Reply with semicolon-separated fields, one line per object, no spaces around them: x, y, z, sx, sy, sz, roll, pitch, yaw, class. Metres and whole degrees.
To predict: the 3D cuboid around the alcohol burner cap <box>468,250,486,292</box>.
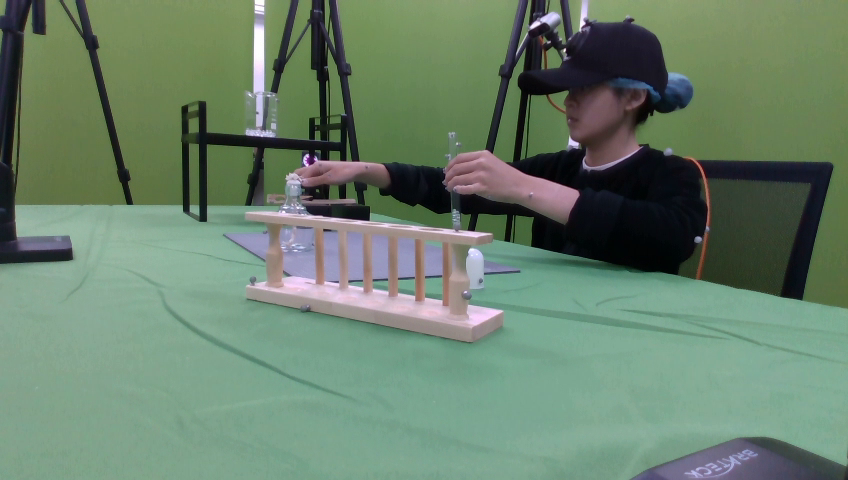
0.056;0.035;0.690;0.034;0.048;0.034;2;7;0;alcohol burner cap

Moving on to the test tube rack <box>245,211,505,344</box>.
-0.049;0.025;0.547;0.241;0.085;0.067;7;8;29;test tube rack

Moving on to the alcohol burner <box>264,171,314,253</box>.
-0.194;-0.042;0.888;0.078;0.119;0.078;3;5;0;alcohol burner

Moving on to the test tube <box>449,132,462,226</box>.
0.050;-0.098;0.969;0.017;0.150;0.017;-3;7;1;test tube

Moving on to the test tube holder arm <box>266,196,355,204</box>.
-0.222;-0.080;1.196;0.179;0.013;0.015;-3;2;-30;test tube holder arm

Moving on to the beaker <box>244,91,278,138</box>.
-0.367;-0.280;1.356;0.074;0.100;0.084;4;8;6;beaker

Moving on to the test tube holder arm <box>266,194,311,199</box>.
-0.261;-0.084;1.173;0.088;0.010;0.015;-2;2;-30;test tube holder arm
